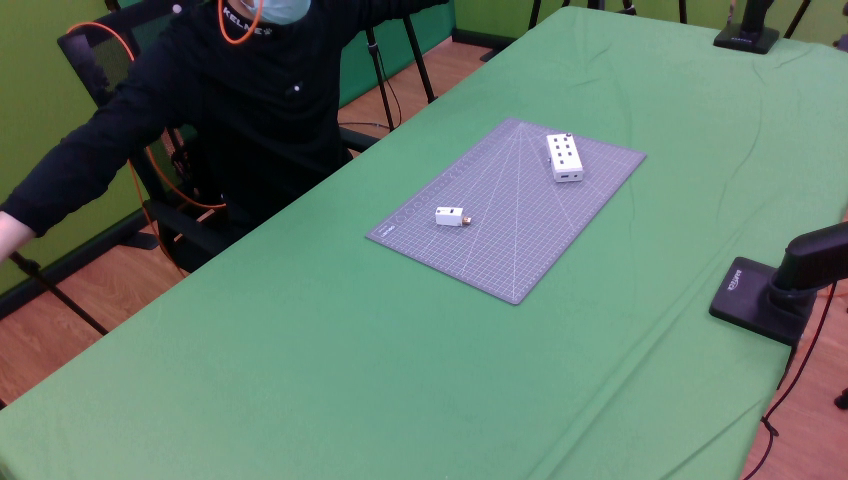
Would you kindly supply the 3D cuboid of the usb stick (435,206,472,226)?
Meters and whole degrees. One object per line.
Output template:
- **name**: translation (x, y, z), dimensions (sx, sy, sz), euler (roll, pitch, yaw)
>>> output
- **usb stick**: translation (0.050, -0.039, 0.999), dimensions (0.059, 0.027, 0.021), euler (7, 41, 12)

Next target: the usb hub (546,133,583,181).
- **usb hub**: translation (0.256, -0.152, 1.103), dimensions (0.049, 0.025, 0.124), euler (-3, 41, 4)
